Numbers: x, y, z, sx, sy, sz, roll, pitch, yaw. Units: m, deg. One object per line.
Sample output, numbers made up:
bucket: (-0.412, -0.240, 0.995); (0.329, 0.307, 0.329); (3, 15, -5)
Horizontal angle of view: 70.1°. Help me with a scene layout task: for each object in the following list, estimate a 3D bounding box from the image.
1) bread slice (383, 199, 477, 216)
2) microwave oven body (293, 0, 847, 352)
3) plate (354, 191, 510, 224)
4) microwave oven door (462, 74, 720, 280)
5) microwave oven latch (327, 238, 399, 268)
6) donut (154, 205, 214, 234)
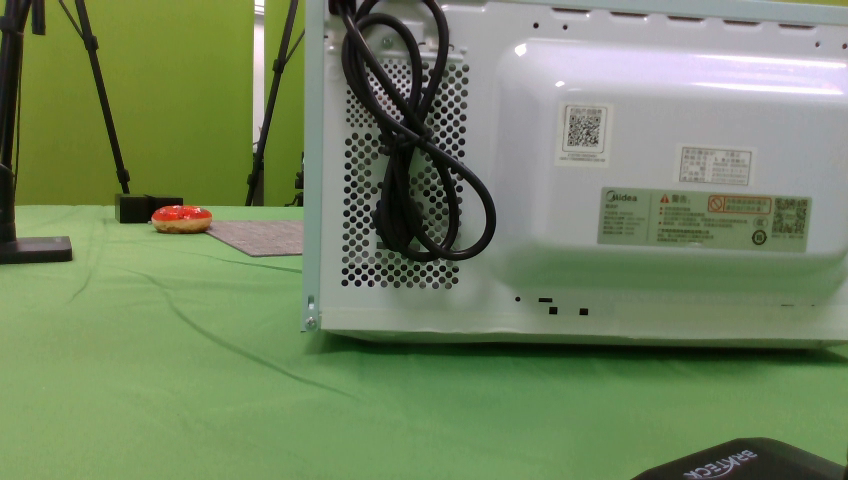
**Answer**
bread slice: (0.012, -0.044, 0.805); (0.105, 0.019, 0.131); (-4, 6, -19)
microwave oven body: (0.122, -0.055, 0.550); (0.442, 0.260, 0.325); (3, 7, -5)
plate: (0.010, -0.045, 0.812); (0.208, 0.039, 0.207); (-1, 6, 0)
microwave oven door: (0.204, -0.092, 0.825); (0.354, 0.243, 0.039); (9, 10, 43)
microwave oven latch: (-0.069, 0.015, 0.694); (0.079, 0.029, 0.030); (3, 7, -3)
donut: (-0.426, -0.037, 1.075); (0.099, 0.048, 0.099); (2, 12, 0)
